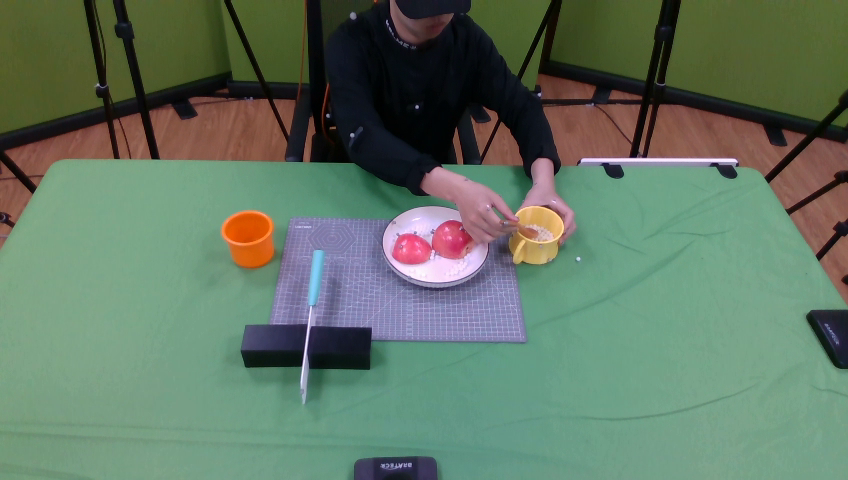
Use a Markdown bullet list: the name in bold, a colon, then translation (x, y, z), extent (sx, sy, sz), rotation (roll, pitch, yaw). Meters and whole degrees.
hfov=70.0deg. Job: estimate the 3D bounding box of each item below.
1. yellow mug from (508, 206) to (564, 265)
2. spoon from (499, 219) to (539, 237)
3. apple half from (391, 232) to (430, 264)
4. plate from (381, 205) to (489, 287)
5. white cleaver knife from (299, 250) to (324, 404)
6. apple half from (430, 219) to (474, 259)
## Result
- **yellow mug**: translation (0.209, -0.001, 1.180), extent (0.099, 0.064, 0.130), rotation (29, 54, 23)
- **spoon**: translation (0.175, -0.025, 1.132), extent (0.041, 0.194, 0.021), rotation (24, 93, 27)
- **apple half**: translation (-0.024, 0.009, 1.163), extent (0.081, 0.033, 0.081), rotation (2, 43, -2)
- **plate**: translation (0.021, 0.015, 1.170), extent (0.209, 0.038, 0.208), rotation (2, 46, -2)
- **white cleaver knife**: translation (-0.194, 0.134, 1.019), extent (0.021, 0.066, 0.284), rotation (5, 50, -5)
- **apple half**: translation (0.056, -0.007, 1.172), extent (0.081, 0.053, 0.074), rotation (-33, 58, -31)
